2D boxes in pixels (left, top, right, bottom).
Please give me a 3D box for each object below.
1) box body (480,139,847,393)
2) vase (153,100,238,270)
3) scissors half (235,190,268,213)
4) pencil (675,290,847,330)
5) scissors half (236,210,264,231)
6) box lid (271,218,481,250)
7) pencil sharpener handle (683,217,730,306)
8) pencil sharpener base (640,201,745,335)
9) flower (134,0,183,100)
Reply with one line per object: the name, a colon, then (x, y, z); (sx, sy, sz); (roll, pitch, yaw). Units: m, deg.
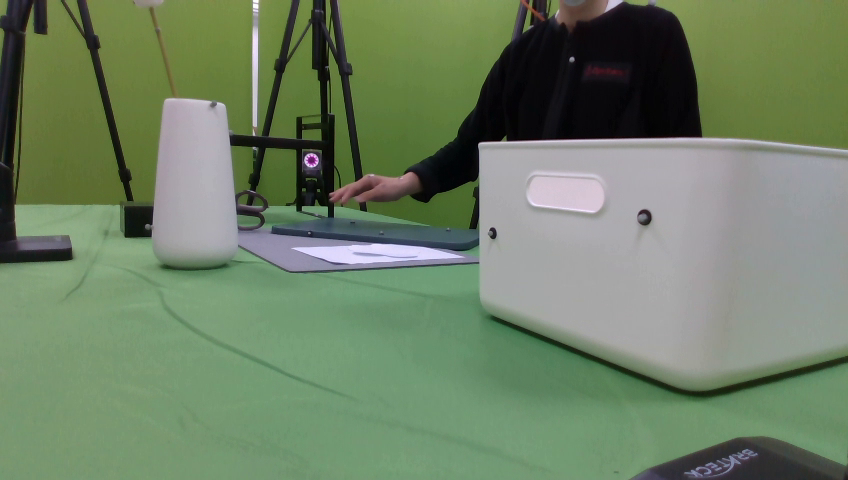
box body: (0.255, 0.001, 0.541); (0.366, 0.160, 0.253); (-2, 8, -31)
vase: (-0.278, -0.066, 0.736); (0.098, 0.200, 0.098); (2, 9, 0)
scissors half: (-0.363, -0.070, 1.060); (0.176, 0.040, 0.013); (0, 16, -23)
pencil: (0.331, 0.067, 0.608); (0.012, 0.012, 0.193); (-1, 5, -26)
scissors half: (-0.369, -0.051, 1.064); (0.176, 0.040, 0.012); (19, 13, -27)
box lid: (-0.072, -0.014, 1.141); (0.371, 0.015, 0.264); (5, 7, 16)
pencil sharpener handle: (0.224, 0.017, 0.476); (0.036, 0.067, 0.030); (8, 9, 6)
pencil sharpener base: (0.232, 0.022, 0.528); (0.061, 0.107, 0.077); (4, 8, 7)
flower: (-0.282, -0.147, 0.713); (0.038, 0.362, 0.044); (-23, 24, -31)
